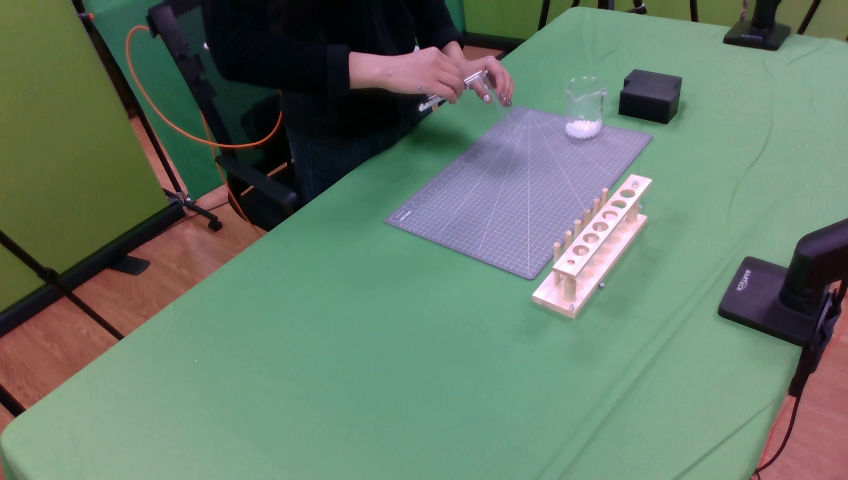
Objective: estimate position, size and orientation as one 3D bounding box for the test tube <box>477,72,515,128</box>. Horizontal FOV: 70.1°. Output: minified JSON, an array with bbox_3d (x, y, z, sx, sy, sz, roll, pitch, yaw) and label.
[{"bbox_3d":[0.134,-0.253,1.109,0.017,0.151,0.017,-16,56,25],"label":"test tube"}]

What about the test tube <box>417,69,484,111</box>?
[{"bbox_3d":[0.045,-0.252,1.016,0.151,0.017,0.017,-35,46,-28],"label":"test tube"}]

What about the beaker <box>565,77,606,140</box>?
[{"bbox_3d":[0.305,-0.247,1.153,0.073,0.101,0.084,15,47,27],"label":"beaker"}]

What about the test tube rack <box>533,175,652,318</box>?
[{"bbox_3d":[0.251,-0.001,0.889,0.066,0.085,0.243,22,49,33],"label":"test tube rack"}]
